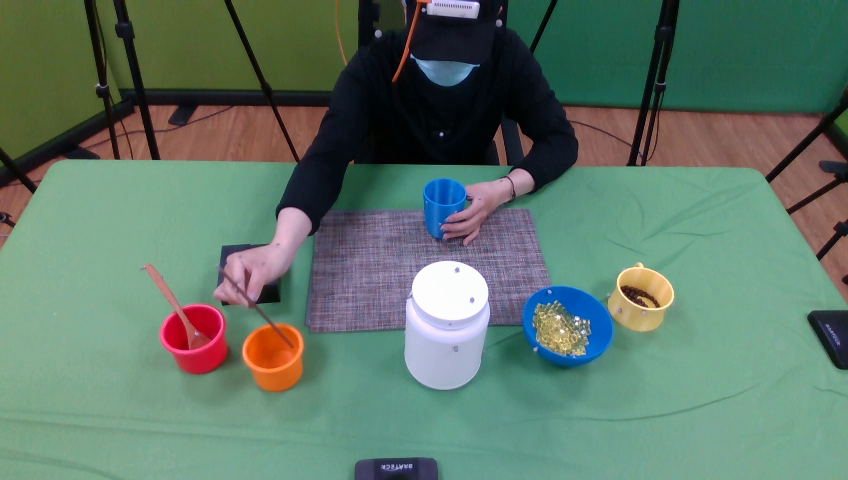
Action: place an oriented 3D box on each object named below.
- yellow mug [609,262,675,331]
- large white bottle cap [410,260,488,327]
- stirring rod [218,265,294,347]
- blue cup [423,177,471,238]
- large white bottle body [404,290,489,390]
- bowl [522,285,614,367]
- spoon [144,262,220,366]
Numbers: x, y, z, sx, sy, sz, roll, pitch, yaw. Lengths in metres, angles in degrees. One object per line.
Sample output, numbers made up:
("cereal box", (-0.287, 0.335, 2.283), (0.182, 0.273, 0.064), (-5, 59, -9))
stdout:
("yellow mug", (0.393, 0.094, 1.103), (0.100, 0.064, 0.130), (7, 45, 3))
("large white bottle cap", (0.037, 0.077, 0.893), (0.115, 0.018, 0.114), (2, 47, -2))
("stirring rod", (-0.250, 0.102, 0.909), (0.006, 0.177, 0.014), (-42, 30, -12))
("blue cup", (0.038, -0.058, 1.195), (0.093, 0.101, 0.092), (1, 45, -1))
("large white bottle body", (0.034, 0.136, 0.955), (0.131, 0.185, 0.130), (2, 46, -2))
("bowl", (0.235, 0.158, 1.022), (0.151, 0.077, 0.150), (2, 46, -2))
("spoon", (-0.389, 0.118, 0.971), (0.041, 0.021, 0.194), (-34, 101, -33))
